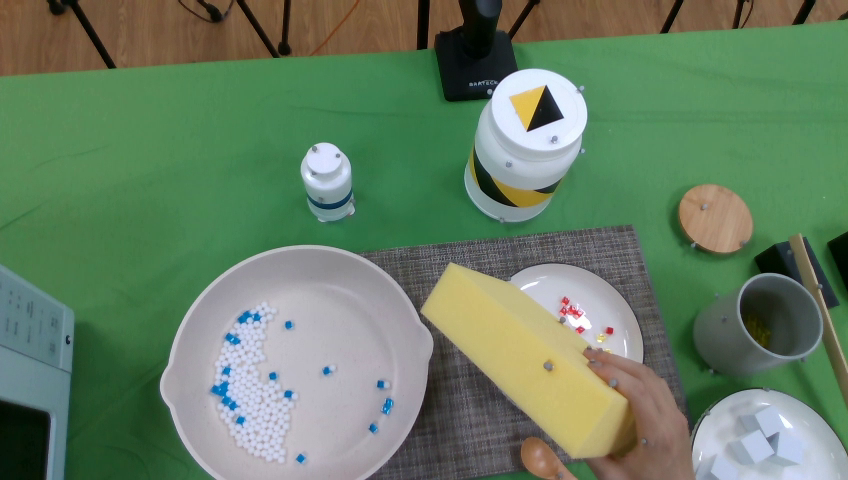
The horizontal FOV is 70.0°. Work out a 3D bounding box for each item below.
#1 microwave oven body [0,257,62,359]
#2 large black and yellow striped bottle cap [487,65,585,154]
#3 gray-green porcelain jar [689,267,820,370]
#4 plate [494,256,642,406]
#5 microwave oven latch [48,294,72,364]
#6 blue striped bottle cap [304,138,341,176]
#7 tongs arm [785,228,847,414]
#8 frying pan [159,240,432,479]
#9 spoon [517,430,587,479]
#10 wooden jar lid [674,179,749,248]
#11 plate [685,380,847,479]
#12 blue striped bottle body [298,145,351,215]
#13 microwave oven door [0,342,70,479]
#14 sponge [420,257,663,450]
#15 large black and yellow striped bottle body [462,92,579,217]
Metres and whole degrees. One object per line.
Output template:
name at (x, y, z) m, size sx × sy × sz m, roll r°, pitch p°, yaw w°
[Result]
microwave oven body at (-0.547, 0.245, 0.538) m, size 0.326 × 0.261 × 0.438 m, roll -5°, pitch 70°, yaw -8°
large black and yellow striped bottle cap at (0.132, -0.155, 0.712) m, size 0.115 × 0.019 × 0.114 m, roll 2°, pitch 67°, yaw -4°
gray-green porcelain jar at (0.404, 0.104, 0.760) m, size 0.106 × 0.127 × 0.105 m, roll 2°, pitch 68°, yaw -4°
plate at (0.171, 0.123, 0.774) m, size 0.209 × 0.038 × 0.207 m, roll 2°, pitch 69°, yaw -4°
microwave oven latch at (-0.432, 0.104, 0.708) m, size 0.030 × 0.029 × 0.078 m, roll -4°, pitch 70°, yaw -7°
blue striped bottle cap at (-0.124, -0.102, 0.738) m, size 0.044 × 0.021 × 0.044 m, roll 1°, pitch 66°, yaw -2°
tongs arm at (0.544, 0.166, 0.767) m, size 0.051 × 0.026 × 0.383 m, roll -10°, pitch 80°, yaw -11°
frying pan at (-0.127, 0.234, 0.668) m, size 0.307 × 0.103 × 0.483 m, roll -7°, pitch 61°, yaw -6°
spoon at (0.192, 0.291, 0.720) m, size 0.193 × 0.022 × 0.041 m, roll 33°, pitch 52°, yaw 6°
wooden jar lid at (0.412, -0.037, 0.873) m, size 0.108 × 0.021 × 0.107 m, roll 2°, pitch 70°, yaw -4°
plate at (0.418, 0.278, 0.742) m, size 0.208 × 0.039 × 0.206 m, roll 2°, pitch 68°, yaw -4°
blue striped bottle body at (-0.128, -0.084, 0.786) m, size 0.063 × 0.121 × 0.062 m, roll 2°, pitch 68°, yaw -5°
microwave oven door at (-0.397, 0.269, 0.538) m, size 0.039 × 0.245 × 0.353 m, roll -6°, pitch 69°, yaw -7°
sponge at (0.106, 0.104, 0.574) m, size 0.204 × 0.119 × 0.061 m, roll 40°, pitch 104°, yaw 40°
large black and yellow striped bottle body at (0.125, -0.123, 0.792) m, size 0.131 × 0.185 × 0.130 m, roll 2°, pitch 68°, yaw -4°
